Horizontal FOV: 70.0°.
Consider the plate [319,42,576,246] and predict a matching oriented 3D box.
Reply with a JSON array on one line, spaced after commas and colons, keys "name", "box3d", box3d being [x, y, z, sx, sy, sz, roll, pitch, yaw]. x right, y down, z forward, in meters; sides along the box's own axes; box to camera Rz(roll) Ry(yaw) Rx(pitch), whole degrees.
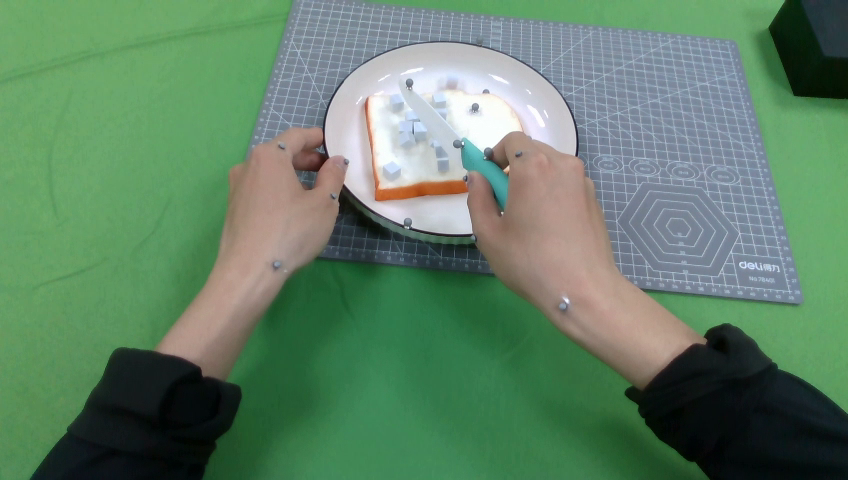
[{"name": "plate", "box3d": [0.019, -0.080, 0.503, 0.209, 0.038, 0.207, 2, 59, -3]}]

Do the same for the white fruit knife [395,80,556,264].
[{"name": "white fruit knife", "box3d": [0.029, -0.061, 0.441, 0.016, 0.027, 0.205, -17, 52, -30]}]

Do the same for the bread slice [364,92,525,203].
[{"name": "bread slice", "box3d": [0.017, -0.084, 0.508, 0.132, 0.019, 0.104, -8, 60, -7]}]
